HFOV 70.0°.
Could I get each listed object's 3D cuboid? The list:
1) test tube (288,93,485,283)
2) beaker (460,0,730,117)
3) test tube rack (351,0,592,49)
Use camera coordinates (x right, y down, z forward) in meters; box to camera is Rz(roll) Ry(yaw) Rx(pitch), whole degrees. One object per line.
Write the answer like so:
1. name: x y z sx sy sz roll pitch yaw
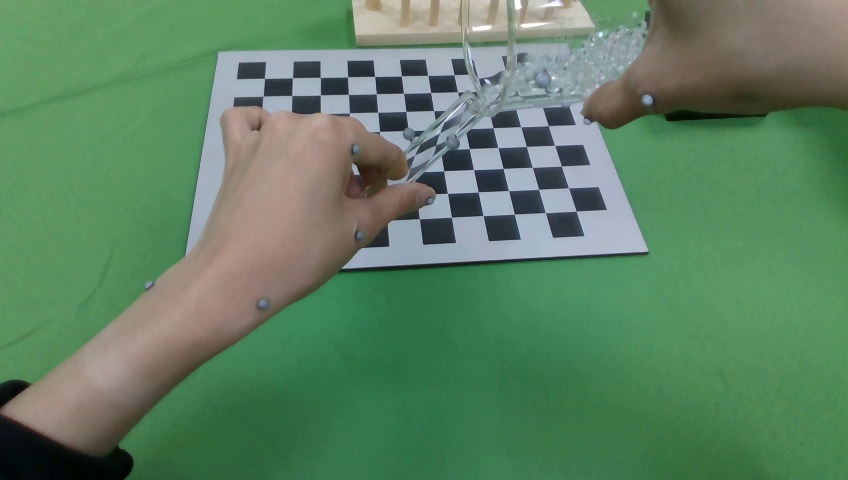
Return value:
1. test tube: -0.026 -0.023 0.326 0.017 0.150 0.017 38 27 -23
2. beaker: 0.073 -0.095 0.272 0.100 0.084 0.073 -8 56 -9
3. test tube rack: 0.050 -0.249 0.600 0.243 0.086 0.066 -4 53 -7
